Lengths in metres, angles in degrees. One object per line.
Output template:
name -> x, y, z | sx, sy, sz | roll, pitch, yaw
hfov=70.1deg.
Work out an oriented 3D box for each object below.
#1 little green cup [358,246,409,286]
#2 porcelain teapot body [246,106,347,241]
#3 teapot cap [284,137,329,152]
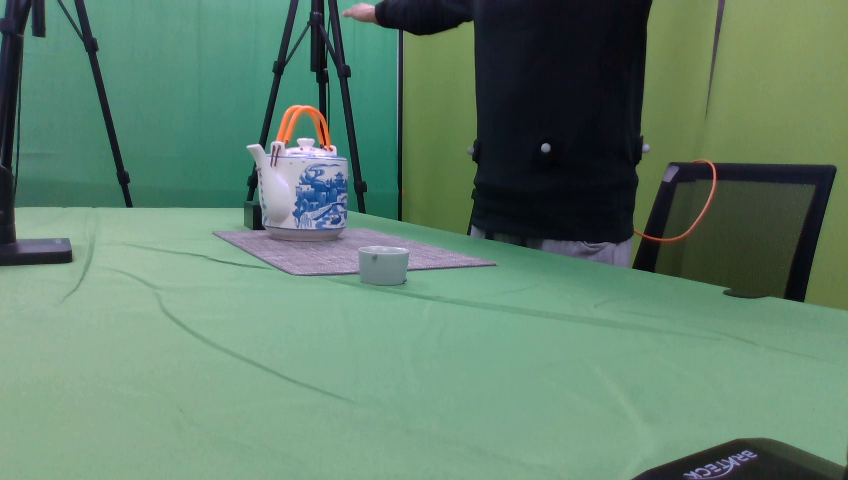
little green cup -> -0.048, 0.030, 0.707 | 0.061, 0.038, 0.061 | 2, 8, 0
porcelain teapot body -> -0.219, -0.114, 1.019 | 0.144, 0.225, 0.206 | 6, 9, 26
teapot cap -> -0.205, -0.155, 1.041 | 0.085, 0.044, 0.085 | 0, 8, 0
